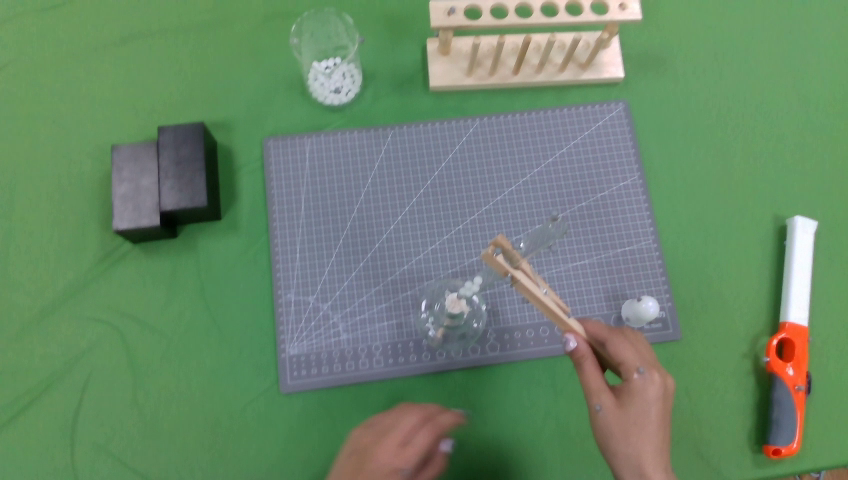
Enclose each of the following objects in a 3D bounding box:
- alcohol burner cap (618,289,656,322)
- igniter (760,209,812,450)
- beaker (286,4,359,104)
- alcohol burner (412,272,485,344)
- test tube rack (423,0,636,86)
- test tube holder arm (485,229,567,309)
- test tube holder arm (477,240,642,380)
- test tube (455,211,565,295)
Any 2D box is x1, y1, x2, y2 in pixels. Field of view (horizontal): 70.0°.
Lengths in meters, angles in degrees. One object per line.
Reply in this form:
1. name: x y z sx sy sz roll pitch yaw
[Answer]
1. alcohol burner cap: 0.239 0.071 0.673 0.034 0.048 0.033 1 74 -2
2. igniter: 0.411 0.098 0.683 0.057 0.025 0.275 16 76 -8
3. beaker: -0.113 -0.208 0.702 0.074 0.100 0.083 -4 76 -3
4. alcohol burner: 0.027 0.068 0.628 0.078 0.119 0.077 1 74 -3
5. test tube rack: 0.122 -0.240 0.727 0.242 0.085 0.066 -3 76 -3
6. test tube holder arm: 0.084 0.027 0.495 0.088 0.015 0.010 48 52 -6
7. test tube holder arm: 0.114 0.061 0.498 0.179 0.015 0.013 41 53 -11
8. test tube: 0.064 0.015 0.492 0.017 0.150 0.017 11 62 -22
